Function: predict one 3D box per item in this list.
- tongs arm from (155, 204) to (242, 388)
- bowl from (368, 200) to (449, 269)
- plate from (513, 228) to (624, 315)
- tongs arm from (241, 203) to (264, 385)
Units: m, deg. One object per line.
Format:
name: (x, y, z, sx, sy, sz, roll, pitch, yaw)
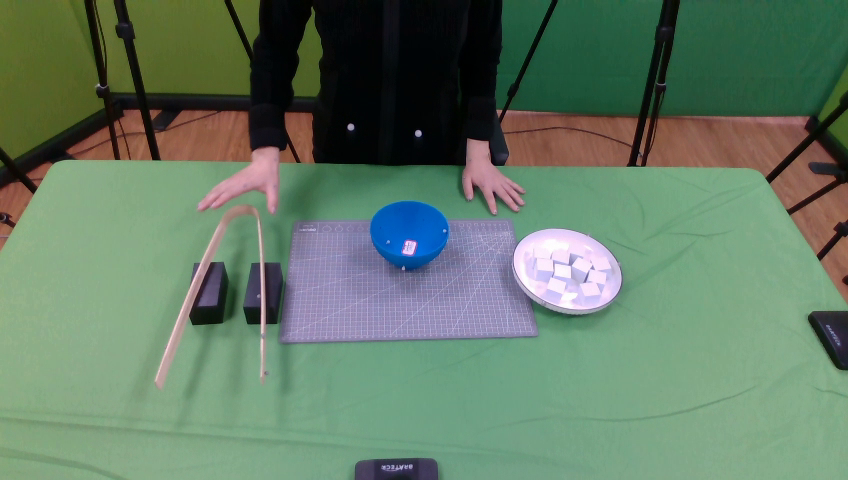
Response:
tongs arm: (-0.375, 0.075, 1.022, 0.028, 0.028, 0.385, 2, 46, 4)
bowl: (-0.031, 0.002, 1.151, 0.151, 0.077, 0.150, 2, 46, -2)
plate: (0.268, 0.063, 1.146, 0.208, 0.039, 0.206, 3, 46, -3)
tongs arm: (-0.295, 0.075, 1.031, 0.051, 0.026, 0.382, -5, 47, -8)
